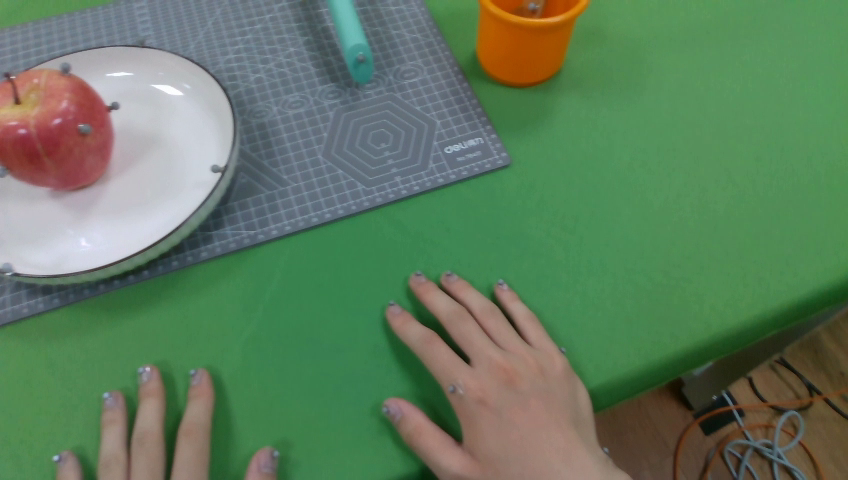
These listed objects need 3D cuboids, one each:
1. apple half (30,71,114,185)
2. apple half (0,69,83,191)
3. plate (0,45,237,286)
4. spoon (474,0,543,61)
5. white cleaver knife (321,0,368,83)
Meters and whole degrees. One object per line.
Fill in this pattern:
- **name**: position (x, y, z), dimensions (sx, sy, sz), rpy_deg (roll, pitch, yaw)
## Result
- **apple half**: position (-0.237, -0.079, 0.427), dimensions (0.033, 0.082, 0.080), rpy_deg (-10, 61, -1)
- **apple half**: position (-0.276, -0.073, 0.424), dimensions (0.053, 0.075, 0.080), rpy_deg (-9, 64, -1)
- **plate**: position (-0.241, -0.056, 0.445), dimensions (0.209, 0.038, 0.207), rpy_deg (1, 61, -1)
- **spoon**: position (0.111, -0.219, 0.483), dimensions (0.022, 0.194, 0.041), rpy_deg (8, 44, -49)
- **white cleaver knife**: position (-0.099, -0.260, 0.543), dimensions (0.021, 0.066, 0.284), rpy_deg (-17, 72, -8)
